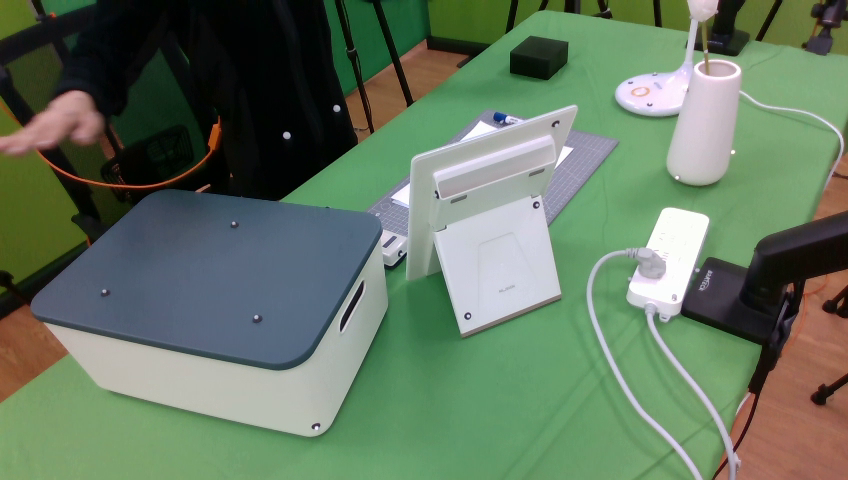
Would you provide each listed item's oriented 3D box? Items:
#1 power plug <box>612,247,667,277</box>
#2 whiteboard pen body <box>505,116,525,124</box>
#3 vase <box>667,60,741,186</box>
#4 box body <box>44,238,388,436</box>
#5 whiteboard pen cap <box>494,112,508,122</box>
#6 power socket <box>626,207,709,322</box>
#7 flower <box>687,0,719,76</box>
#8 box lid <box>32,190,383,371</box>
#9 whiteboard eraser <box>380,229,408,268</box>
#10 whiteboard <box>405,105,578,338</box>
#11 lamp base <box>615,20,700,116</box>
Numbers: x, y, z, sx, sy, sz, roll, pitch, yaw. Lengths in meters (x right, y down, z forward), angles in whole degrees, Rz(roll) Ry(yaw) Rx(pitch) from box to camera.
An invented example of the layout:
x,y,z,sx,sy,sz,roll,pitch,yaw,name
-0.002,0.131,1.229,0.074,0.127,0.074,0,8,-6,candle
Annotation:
x,y,z,sx,sy,sz,roll,pitch,yaw,name
0.306,0.031,0.852,0.072,0.053,0.035,21,48,37,power plug
0.203,-0.232,1.213,0.139,0.017,0.017,28,51,36,whiteboard pen body
0.463,-0.189,0.994,0.098,0.201,0.097,-4,40,4,vase
-0.251,0.088,0.799,0.362,0.161,0.254,7,42,16,box body
0.161,-0.253,1.248,0.033,0.018,0.018,27,51,36,whiteboard pen cap
0.360,0.026,0.886,0.072,0.033,0.227,17,46,27,power socket
0.436,-0.242,0.934,0.038,0.364,0.043,-24,49,8,flower
-0.257,0.032,0.750,0.370,0.015,0.263,7,41,16,box lid
-0.081,0.007,0.963,0.112,0.042,0.056,19,48,27,whiteboard eraser
0.103,0.003,0.786,0.218,0.306,0.143,-19,62,-14,whiteboard
0.484,-0.364,1.211,0.180,0.181,0.159,-15,41,-14,lamp base
